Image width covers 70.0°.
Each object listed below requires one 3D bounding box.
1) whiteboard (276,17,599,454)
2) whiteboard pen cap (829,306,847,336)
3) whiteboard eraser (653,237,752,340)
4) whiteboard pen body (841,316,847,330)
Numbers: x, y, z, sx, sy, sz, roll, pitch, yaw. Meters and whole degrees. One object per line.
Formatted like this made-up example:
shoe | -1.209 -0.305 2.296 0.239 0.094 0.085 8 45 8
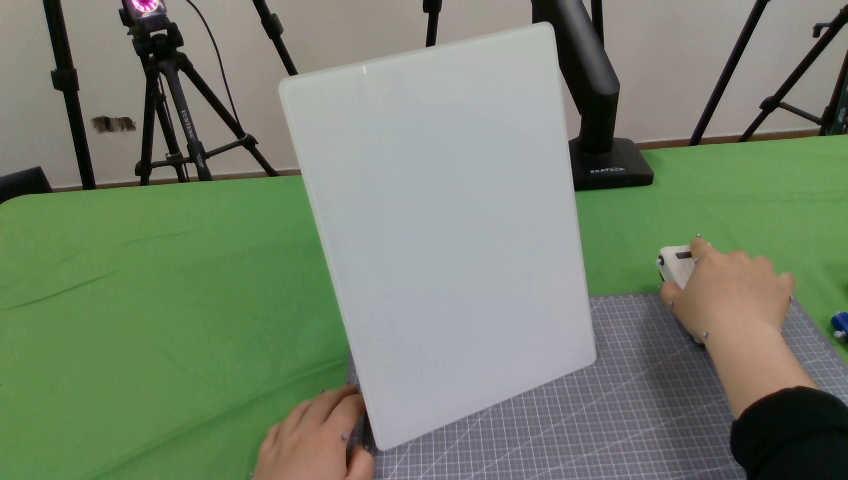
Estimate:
whiteboard | 0.008 -0.014 0.539 0.217 0.307 0.142 -18 19 -16
whiteboard pen cap | 0.395 0.078 0.563 0.018 0.018 0.033 -6 35 0
whiteboard eraser | 0.269 0.047 0.594 0.055 0.042 0.111 -8 43 3
whiteboard pen body | 0.399 0.113 0.517 0.017 0.017 0.139 -5 36 0
